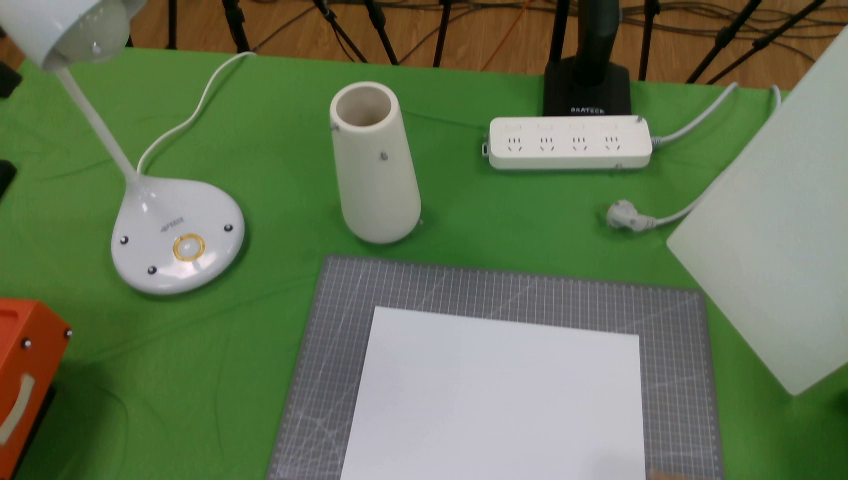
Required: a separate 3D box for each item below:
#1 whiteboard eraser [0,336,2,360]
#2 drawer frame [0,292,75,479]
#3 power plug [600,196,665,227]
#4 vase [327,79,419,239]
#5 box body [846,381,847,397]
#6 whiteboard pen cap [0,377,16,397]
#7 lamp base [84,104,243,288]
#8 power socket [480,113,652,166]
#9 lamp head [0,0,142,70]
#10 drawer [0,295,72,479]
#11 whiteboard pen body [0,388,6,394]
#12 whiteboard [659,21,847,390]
[{"bbox_3d":[-0.487,0.123,0.636,0.112,0.042,0.055,-25,67,22],"label":"whiteboard eraser"},{"bbox_3d":[-0.492,0.147,0.581,0.213,0.083,0.200,4,60,3],"label":"drawer frame"},{"bbox_3d":[0.254,-0.032,0.753,0.073,0.035,0.052,17,21,-33],"label":"power plug"},{"bbox_3d":[-0.059,-0.086,0.688,0.098,0.202,0.097,-2,58,3],"label":"vase"},{"bbox_3d":[0.532,0.253,0.480,0.254,0.162,0.361,4,59,5],"label":"box body"},{"bbox_3d":[-0.425,0.149,0.599,0.033,0.018,0.018,-21,59,-15],"label":"whiteboard pen cap"},{"bbox_3d":[-0.318,-0.059,0.692,0.178,0.182,0.160,35,65,24],"label":"lamp base"},{"bbox_3d":[0.188,-0.134,0.806,0.227,0.033,0.071,1,59,2],"label":"power socket"},{"bbox_3d":[-0.281,-0.203,0.439,0.123,0.112,0.112,46,64,-16],"label":"lamp head"},{"bbox_3d":[-0.486,0.144,0.579,0.211,0.074,0.193,4,59,4],"label":"drawer"},{"bbox_3d":[-0.478,0.170,0.582,0.141,0.017,0.017,-19,59,-14],"label":"whiteboard pen body"},{"bbox_3d":[0.432,-0.029,0.609,0.144,0.307,0.215,-12,56,-27],"label":"whiteboard"}]
